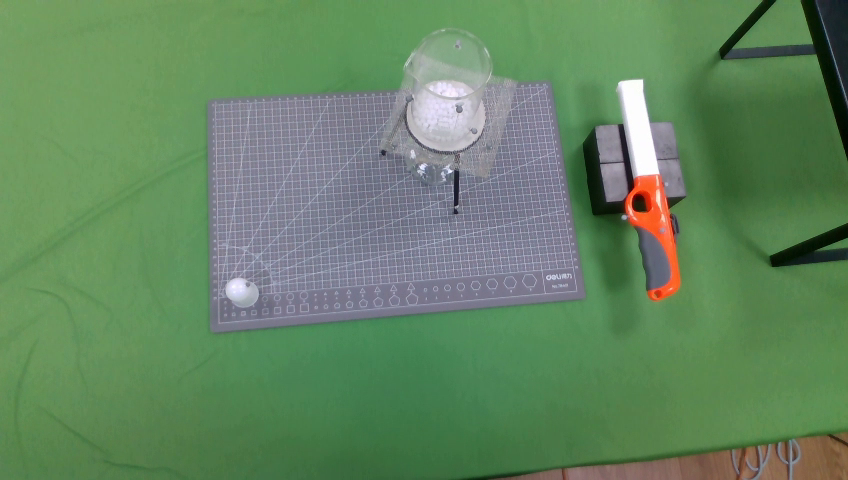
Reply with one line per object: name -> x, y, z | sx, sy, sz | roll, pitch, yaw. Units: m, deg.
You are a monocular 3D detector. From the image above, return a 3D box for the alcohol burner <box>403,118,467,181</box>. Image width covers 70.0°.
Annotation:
alcohol burner -> 0.014, -0.115, 0.719 | 0.078, 0.119, 0.077 | 1, 77, -3

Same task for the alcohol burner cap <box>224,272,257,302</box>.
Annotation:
alcohol burner cap -> -0.214, 0.052, 0.698 | 0.034, 0.048, 0.033 | 1, 75, -4

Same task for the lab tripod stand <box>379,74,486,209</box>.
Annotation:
lab tripod stand -> 0.019, -0.125, 0.712 | 0.148, 0.132, 0.147 | 1, 73, -3

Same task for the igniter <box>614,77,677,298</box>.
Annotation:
igniter -> 0.264, -0.068, 0.726 | 0.057, 0.025, 0.275 | -5, 76, 1

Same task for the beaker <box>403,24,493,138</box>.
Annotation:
beaker -> 0.020, -0.152, 0.601 | 0.084, 0.100, 0.073 | -3, 74, -5

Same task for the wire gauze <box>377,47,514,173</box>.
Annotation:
wire gauze -> 0.026, -0.139, 0.649 | 0.121, 0.011, 0.124 | 18, 71, -1
